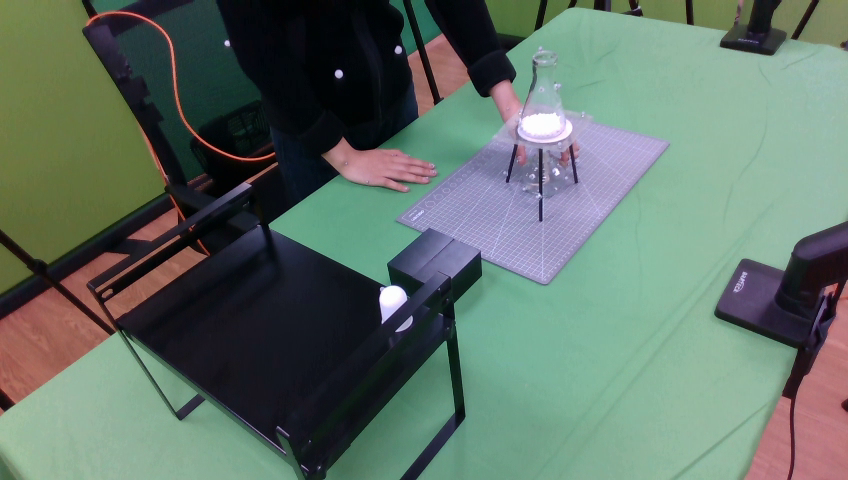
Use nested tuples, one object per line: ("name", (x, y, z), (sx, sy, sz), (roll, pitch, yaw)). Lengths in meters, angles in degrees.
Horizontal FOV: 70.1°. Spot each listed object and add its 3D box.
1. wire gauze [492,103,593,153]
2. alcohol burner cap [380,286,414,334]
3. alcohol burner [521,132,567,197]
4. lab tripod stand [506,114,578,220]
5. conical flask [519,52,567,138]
("wire gauze", (0.191, -0.179, 0.965), (0.120, 0.011, 0.125), (17, 49, 29))
("alcohol burner cap", (-0.029, 0.068, 0.605), (0.034, 0.048, 0.033), (-5, 39, 4))
("alcohol burner", (0.203, -0.132, 1.026), (0.078, 0.119, 0.077), (-5, 42, 5))
("lab tripod stand", (0.198, -0.127, 1.005), (0.148, 0.132, 0.147), (-3, 41, 3))
("conical flask", (0.183, -0.223, 0.926), (0.075, 0.122, 0.075), (-4, 41, 4))
